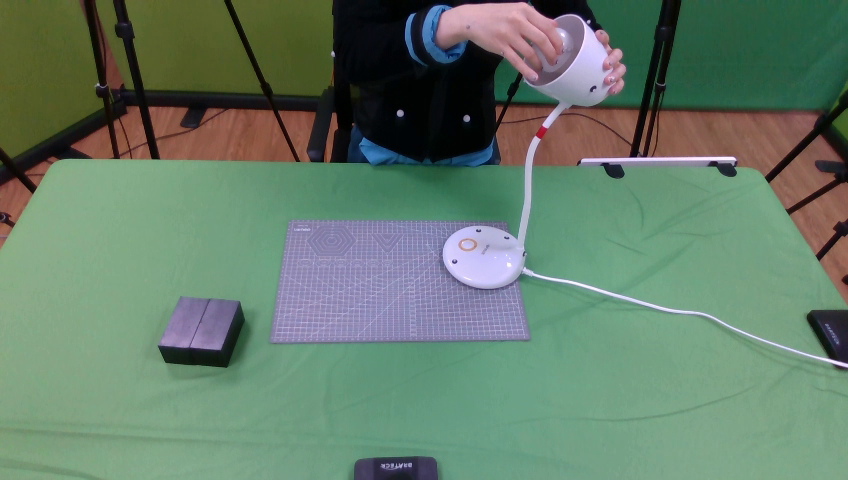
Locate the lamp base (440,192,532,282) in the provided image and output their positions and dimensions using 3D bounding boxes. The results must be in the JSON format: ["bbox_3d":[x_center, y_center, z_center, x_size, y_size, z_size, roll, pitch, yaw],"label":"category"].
[{"bbox_3d":[0.127,-0.032,1.123,0.179,0.181,0.159,11,47,2],"label":"lamp base"}]

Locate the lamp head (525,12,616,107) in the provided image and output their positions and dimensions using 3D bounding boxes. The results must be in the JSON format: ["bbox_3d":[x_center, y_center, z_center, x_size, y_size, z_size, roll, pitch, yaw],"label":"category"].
[{"bbox_3d":[0.221,-0.248,0.886,0.112,0.123,0.111,-25,47,29],"label":"lamp head"}]

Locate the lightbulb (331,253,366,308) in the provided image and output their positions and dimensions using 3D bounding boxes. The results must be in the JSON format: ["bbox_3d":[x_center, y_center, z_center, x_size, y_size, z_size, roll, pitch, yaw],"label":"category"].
[{"bbox_3d":[-0.131,0.074,1.094,0.059,0.060,0.107,-15,65,-18],"label":"lightbulb"}]
